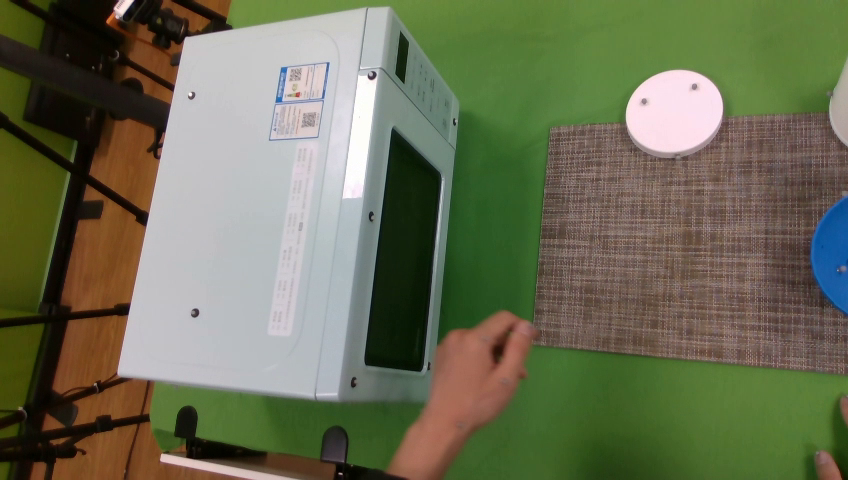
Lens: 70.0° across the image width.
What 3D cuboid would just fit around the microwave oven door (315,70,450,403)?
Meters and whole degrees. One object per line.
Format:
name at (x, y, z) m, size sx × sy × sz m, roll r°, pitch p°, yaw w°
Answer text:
microwave oven door at (-0.037, 0.014, 0.729) m, size 0.039 × 0.246 × 0.354 m, roll 0°, pitch 76°, yaw 23°

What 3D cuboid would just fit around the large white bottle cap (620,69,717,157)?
large white bottle cap at (0.309, -0.161, 0.768) m, size 0.114 × 0.018 × 0.114 m, roll -6°, pitch 74°, yaw 21°

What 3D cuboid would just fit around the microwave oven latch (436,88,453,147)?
microwave oven latch at (0.025, -0.174, 0.864) m, size 0.030 × 0.030 × 0.079 m, roll 0°, pitch 78°, yaw 22°

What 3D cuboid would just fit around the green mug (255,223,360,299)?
green mug at (-0.147, 0.024, 0.802) m, size 0.125 × 0.106 × 0.092 m, roll -12°, pitch 73°, yaw 15°

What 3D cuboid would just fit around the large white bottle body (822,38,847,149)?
large white bottle body at (0.488, -0.174, 0.602) m, size 0.130 × 0.186 × 0.130 m, roll -7°, pitch 70°, yaw 21°

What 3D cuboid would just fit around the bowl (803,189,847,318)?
bowl at (0.469, 0.022, 0.620) m, size 0.151 × 0.077 × 0.150 m, roll -6°, pitch 74°, yaw 22°

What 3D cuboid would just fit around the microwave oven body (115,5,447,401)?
microwave oven body at (-0.166, -0.025, 0.798) m, size 0.324 × 0.262 × 0.439 m, roll 0°, pitch 77°, yaw 22°
